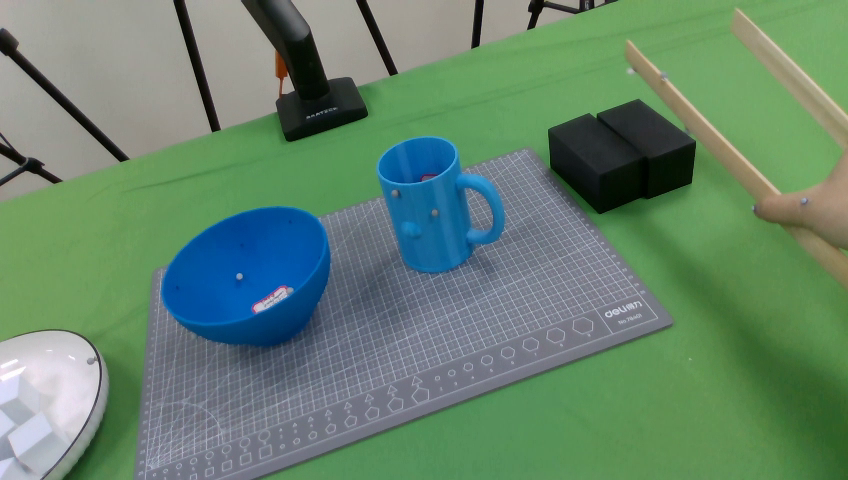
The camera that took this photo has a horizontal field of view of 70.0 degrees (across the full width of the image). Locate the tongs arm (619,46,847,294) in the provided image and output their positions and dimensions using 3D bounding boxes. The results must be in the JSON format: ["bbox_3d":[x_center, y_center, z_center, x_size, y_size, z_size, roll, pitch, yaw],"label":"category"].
[{"bbox_3d":[0.267,-0.055,0.478,0.051,0.027,0.380,-17,49,-4],"label":"tongs arm"}]

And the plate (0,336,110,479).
[{"bbox_3d":[-0.369,0.174,0.520,0.209,0.038,0.207,-8,41,7],"label":"plate"}]

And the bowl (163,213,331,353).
[{"bbox_3d":[-0.150,0.051,0.560,0.151,0.077,0.150,-8,41,8],"label":"bowl"}]

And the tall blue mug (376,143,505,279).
[{"bbox_3d":[0.019,-0.029,0.578,0.107,0.109,0.077,-11,40,4],"label":"tall blue mug"}]

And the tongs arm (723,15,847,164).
[{"bbox_3d":[0.327,-0.073,0.480,0.028,0.028,0.383,-9,49,-2],"label":"tongs arm"}]
